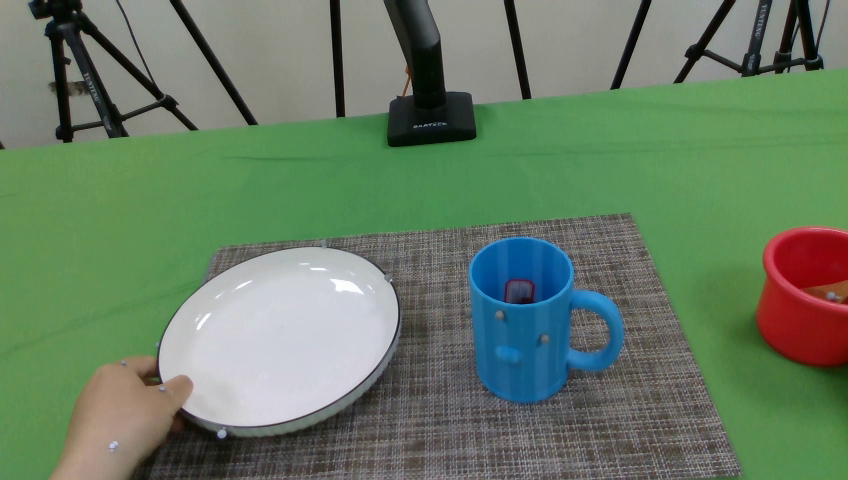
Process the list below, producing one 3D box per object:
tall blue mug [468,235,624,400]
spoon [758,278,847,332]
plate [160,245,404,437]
[{"bbox_3d":[0.091,0.059,0.471,0.107,0.109,0.077,-9,39,-1],"label":"tall blue mug"},{"bbox_3d":[0.348,0.023,0.451,0.022,0.194,0.041,34,43,-21],"label":"spoon"},{"bbox_3d":[-0.119,0.085,0.532,0.207,0.039,0.205,-4,39,4],"label":"plate"}]
